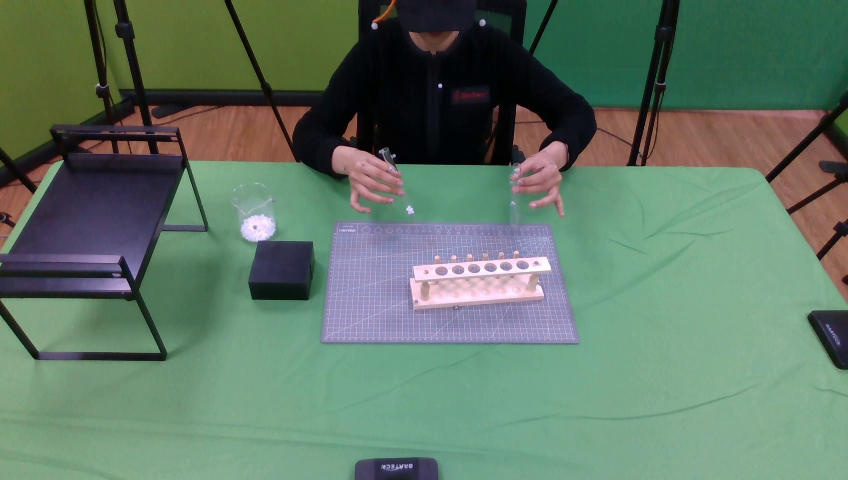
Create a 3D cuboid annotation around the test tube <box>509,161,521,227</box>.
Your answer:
[{"bbox_3d":[0.169,-0.082,1.133,0.017,0.151,0.017,-2,43,2],"label":"test tube"}]

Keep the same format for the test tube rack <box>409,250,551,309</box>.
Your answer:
[{"bbox_3d":[0.098,0.065,1.096,0.243,0.085,0.066,-4,47,-8],"label":"test tube rack"}]

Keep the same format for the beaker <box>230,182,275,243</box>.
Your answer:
[{"bbox_3d":[-0.328,-0.049,1.166,0.074,0.101,0.083,2,47,-2],"label":"beaker"}]

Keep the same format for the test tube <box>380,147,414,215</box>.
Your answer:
[{"bbox_3d":[-0.050,-0.110,1.155,0.017,0.151,0.017,-16,33,11],"label":"test tube"}]
